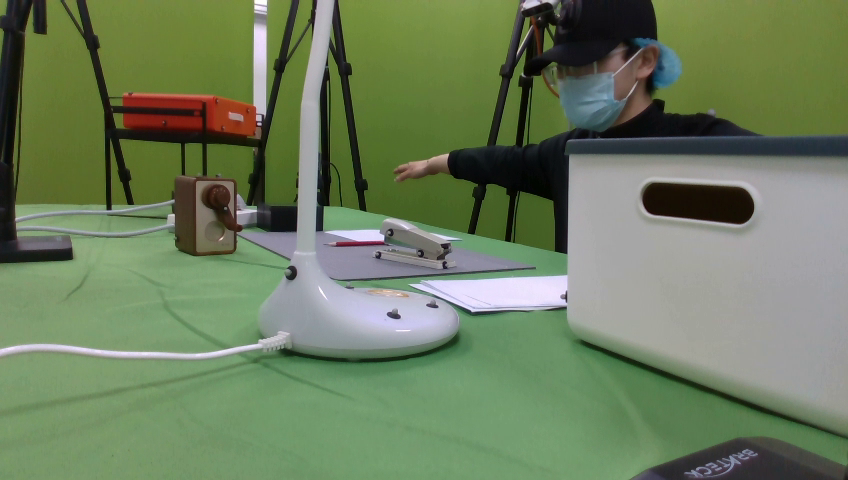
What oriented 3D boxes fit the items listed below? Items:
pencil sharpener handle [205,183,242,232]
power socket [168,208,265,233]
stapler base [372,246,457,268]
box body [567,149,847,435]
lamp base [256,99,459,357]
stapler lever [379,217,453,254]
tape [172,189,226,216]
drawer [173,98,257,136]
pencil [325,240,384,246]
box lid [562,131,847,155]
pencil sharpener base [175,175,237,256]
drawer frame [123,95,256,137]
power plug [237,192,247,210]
[{"bbox_3d":[-0.265,-0.043,0.812,0.036,0.068,0.030,-31,27,-35],"label":"pencil sharpener handle"},{"bbox_3d":[-0.381,-0.038,1.129,0.072,0.032,0.227,4,8,17],"label":"power socket"},{"bbox_3d":[-0.016,0.017,0.831,0.130,0.024,0.041,10,12,39],"label":"stapler base"},{"bbox_3d":[0.318,0.009,0.471,0.366,0.160,0.253,-2,8,-31],"label":"box body"},{"bbox_3d":[-0.055,-0.013,0.463,0.160,0.180,0.180,6,11,27],"label":"lamp base"},{"bbox_3d":[-0.014,-0.007,0.827,0.117,0.040,0.027,9,11,39],"label":"stapler lever"},{"bbox_3d":[-0.515,-0.087,1.388,0.117,0.052,0.117,3,8,0],"label":"tape"},{"bbox_3d":[-0.518,-0.279,1.376,0.211,0.073,0.195,3,8,9],"label":"drawer"},{"bbox_3d":[-0.066,0.003,0.979,0.195,0.012,0.012,-3,9,-25],"label":"pencil"},{"bbox_3d":[0.322,-0.064,0.463,0.373,0.015,0.262,-2,9,-31],"label":"box lid"},{"bbox_3d":[-0.304,-0.036,0.847,0.062,0.107,0.076,-4,10,-42],"label":"pencil sharpener base"},{"bbox_3d":[-0.524,-0.281,1.376,0.213,0.082,0.202,3,8,8],"label":"drawer frame"},{"bbox_3d":[-0.386,-0.071,1.204,0.072,0.052,0.035,7,9,26],"label":"power plug"}]
